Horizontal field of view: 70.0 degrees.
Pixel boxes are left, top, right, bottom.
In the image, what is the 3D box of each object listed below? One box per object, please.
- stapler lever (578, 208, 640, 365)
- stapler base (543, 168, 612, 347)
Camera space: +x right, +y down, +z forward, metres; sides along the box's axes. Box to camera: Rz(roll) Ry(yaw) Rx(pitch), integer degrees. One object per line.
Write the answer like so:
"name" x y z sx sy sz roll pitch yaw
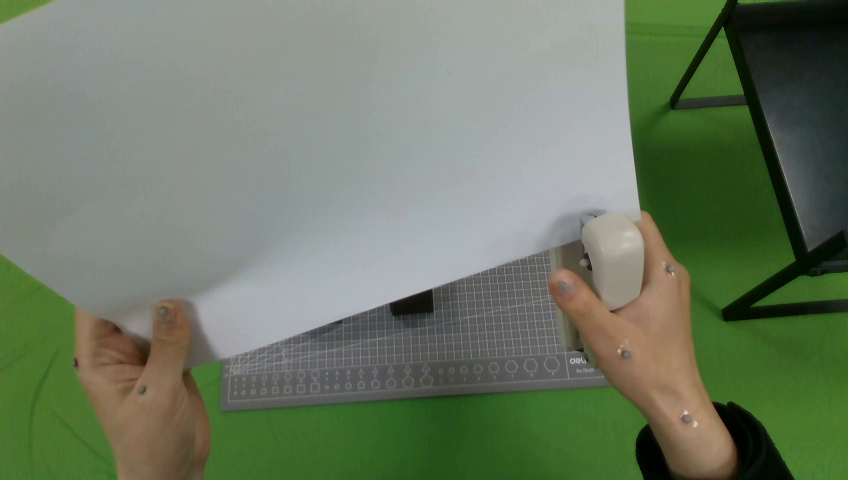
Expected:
"stapler lever" 0.106 0.033 0.353 0.027 0.119 0.039 -15 34 -1
"stapler base" 0.101 0.019 0.372 0.041 0.132 0.024 -15 34 -1
